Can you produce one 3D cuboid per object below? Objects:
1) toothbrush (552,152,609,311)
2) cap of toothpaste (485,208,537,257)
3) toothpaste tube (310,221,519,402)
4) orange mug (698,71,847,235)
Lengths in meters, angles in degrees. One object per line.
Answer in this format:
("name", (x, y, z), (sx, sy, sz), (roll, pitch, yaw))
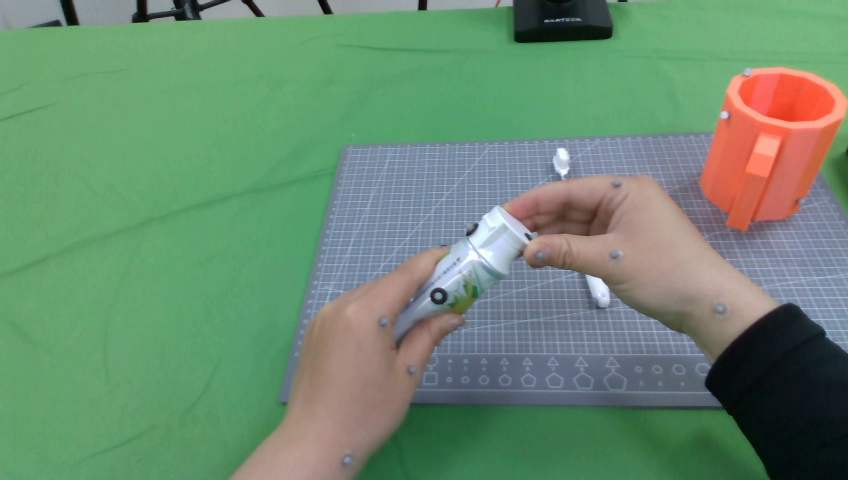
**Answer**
("toothbrush", (0.133, -0.015, 0.518), (0.014, 0.017, 0.180), (3, 47, -6))
("cap of toothpaste", (0.051, -0.003, 0.355), (0.011, 0.038, 0.037), (-47, 45, 18))
("toothpaste tube", (-0.003, 0.050, 0.378), (0.165, 0.055, 0.034), (-46, 47, 18))
("orange mug", (0.276, -0.065, 0.494), (0.083, 0.102, 0.126), (21, 47, 25))
